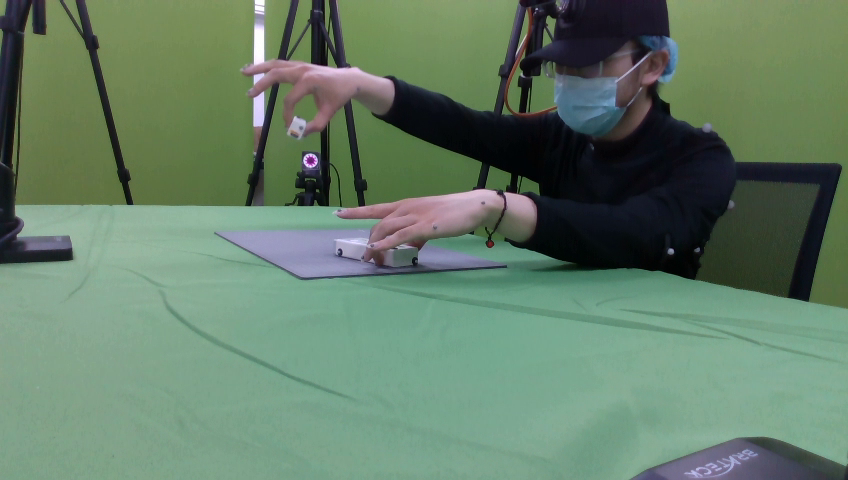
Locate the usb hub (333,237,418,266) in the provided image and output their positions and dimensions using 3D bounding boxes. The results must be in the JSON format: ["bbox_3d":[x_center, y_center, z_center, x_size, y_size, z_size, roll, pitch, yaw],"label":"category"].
[{"bbox_3d":[-0.069,0.014,0.834,0.124,0.025,0.050,8,10,42],"label":"usb hub"}]

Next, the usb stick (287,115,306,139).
[{"bbox_3d":[-0.198,-0.174,0.939,0.021,0.027,0.059,25,18,-18],"label":"usb stick"}]
